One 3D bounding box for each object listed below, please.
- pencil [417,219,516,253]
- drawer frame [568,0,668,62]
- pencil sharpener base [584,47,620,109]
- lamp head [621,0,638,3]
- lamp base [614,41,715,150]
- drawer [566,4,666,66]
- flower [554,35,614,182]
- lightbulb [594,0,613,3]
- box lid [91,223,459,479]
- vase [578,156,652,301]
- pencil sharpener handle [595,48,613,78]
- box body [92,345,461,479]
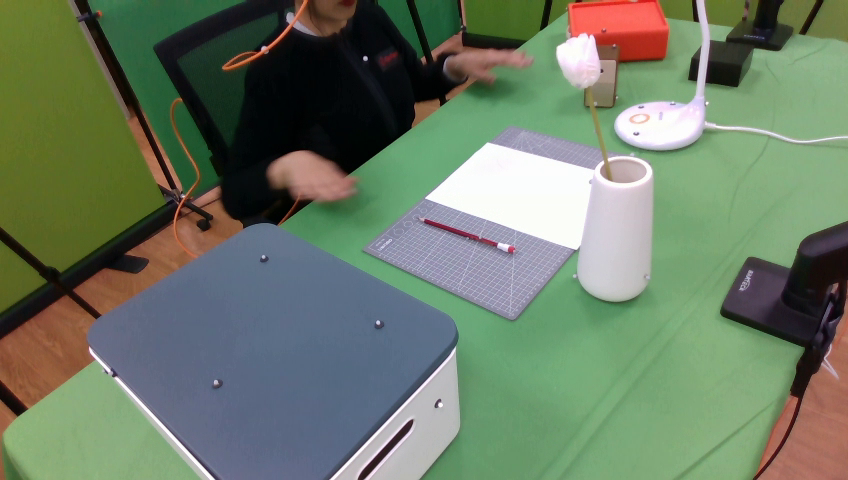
[{"bbox_3d":[0.066,-0.009,0.992,0.192,0.012,0.012,19,47,32],"label":"pencil"},{"bbox_3d":[0.450,-0.496,1.441,0.213,0.083,0.201,-1,40,9],"label":"drawer frame"},{"bbox_3d":[0.367,-0.336,1.249,0.061,0.107,0.076,6,42,19],"label":"pencil sharpener base"},{"bbox_3d":[0.319,-0.453,0.962,0.113,0.123,0.112,20,33,-13],"label":"lamp head"},{"bbox_3d":[0.449,-0.277,1.106,0.179,0.181,0.160,1,41,9],"label":"lamp base"},{"bbox_3d":[0.447,-0.493,1.441,0.211,0.073,0.194,0,40,9],"label":"drawer"},{"bbox_3d":[0.237,-0.083,0.774,0.044,0.363,0.038,-22,26,7],"label":"flower"},{"bbox_3d":[0.305,-0.438,0.978,0.060,0.107,0.059,13,43,-11],"label":"lightbulb"},{"bbox_3d":[-0.174,0.103,0.667,0.368,0.015,0.264,24,49,35],"label":"box lid"},{"bbox_3d":[0.261,-0.011,0.812,0.098,0.201,0.097,-4,40,4],"label":"vase"},{"bbox_3d":[0.382,-0.378,1.276,0.036,0.068,0.030,3,41,21],"label":"pencil sharpener handle"},{"bbox_3d":[-0.162,0.170,0.708,0.361,0.161,0.255,25,50,34],"label":"box body"}]
